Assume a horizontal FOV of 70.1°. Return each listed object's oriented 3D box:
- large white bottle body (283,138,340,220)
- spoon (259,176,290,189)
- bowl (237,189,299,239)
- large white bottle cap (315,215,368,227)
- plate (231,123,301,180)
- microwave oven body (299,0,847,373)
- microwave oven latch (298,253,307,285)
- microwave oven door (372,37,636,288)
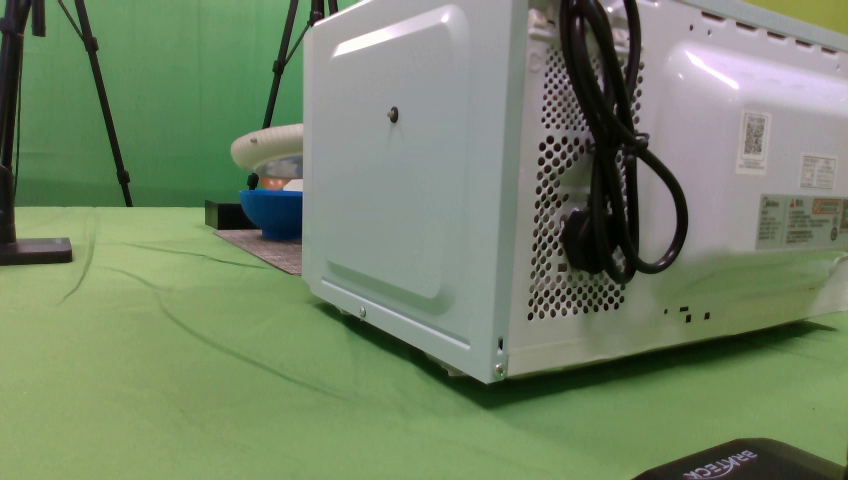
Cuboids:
[{"bbox_3d":[-0.265,-0.144,1.424,0.131,0.184,0.130,2,7,0],"label":"large white bottle body"},{"bbox_3d":[-0.203,-0.129,1.080,0.194,0.041,0.021,-20,-6,-29],"label":"spoon"},{"bbox_3d":[-0.245,-0.046,1.053,0.151,0.077,0.151,3,8,0],"label":"bowl"},{"bbox_3d":[-0.178,-0.041,1.309,0.115,0.018,0.115,2,6,0],"label":"large white bottle cap"},{"bbox_3d":[-0.180,-0.127,0.908,0.209,0.038,0.209,-9,-6,-1],"label":"plate"},{"bbox_3d":[0.151,-0.055,0.542,0.444,0.260,0.324,-2,7,-33],"label":"microwave oven body"},{"bbox_3d":[-0.081,0.027,0.582,0.079,0.029,0.030,-1,7,-32],"label":"microwave oven latch"},{"bbox_3d":[0.110,-0.080,0.686,0.358,0.243,0.039,-2,9,-33],"label":"microwave oven door"}]
